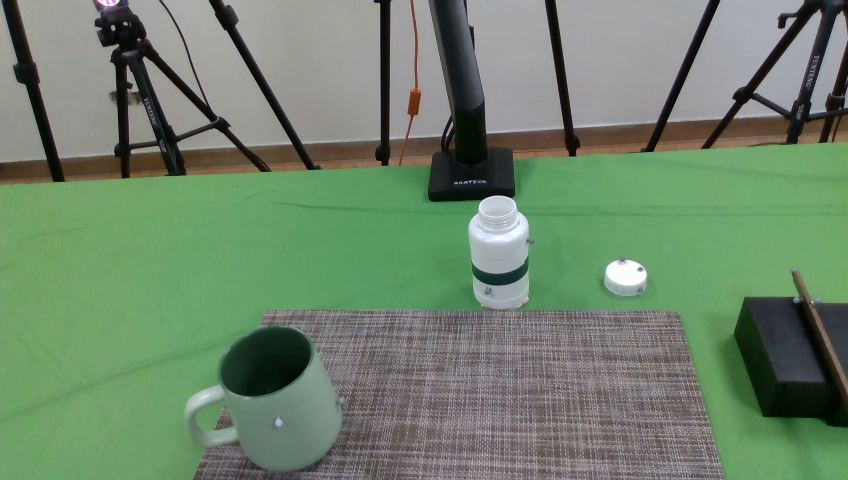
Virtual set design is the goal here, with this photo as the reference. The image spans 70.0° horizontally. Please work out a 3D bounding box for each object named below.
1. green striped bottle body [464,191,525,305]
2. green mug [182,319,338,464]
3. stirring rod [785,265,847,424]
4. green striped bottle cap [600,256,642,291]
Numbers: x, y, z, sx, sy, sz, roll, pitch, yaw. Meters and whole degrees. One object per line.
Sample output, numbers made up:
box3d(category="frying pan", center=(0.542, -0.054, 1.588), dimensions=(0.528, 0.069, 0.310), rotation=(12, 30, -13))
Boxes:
box3d(category="green striped bottle body", center=(0.076, 0.007, 0.645), dimensions=(0.063, 0.120, 0.062), rotation=(-5, 39, 4))
box3d(category="green mug", center=(-0.143, 0.138, 0.525), dimensions=(0.125, 0.106, 0.091), rotation=(-18, 41, -12))
box3d(category="stirring rod", center=(0.335, 0.083, 0.515), dimensions=(0.006, 0.014, 0.174), rotation=(-2, 39, 14))
box3d(category="green striped bottle cap", center=(0.217, 0.037, 0.668), dimensions=(0.044, 0.020, 0.044), rotation=(-3, 36, 2))
